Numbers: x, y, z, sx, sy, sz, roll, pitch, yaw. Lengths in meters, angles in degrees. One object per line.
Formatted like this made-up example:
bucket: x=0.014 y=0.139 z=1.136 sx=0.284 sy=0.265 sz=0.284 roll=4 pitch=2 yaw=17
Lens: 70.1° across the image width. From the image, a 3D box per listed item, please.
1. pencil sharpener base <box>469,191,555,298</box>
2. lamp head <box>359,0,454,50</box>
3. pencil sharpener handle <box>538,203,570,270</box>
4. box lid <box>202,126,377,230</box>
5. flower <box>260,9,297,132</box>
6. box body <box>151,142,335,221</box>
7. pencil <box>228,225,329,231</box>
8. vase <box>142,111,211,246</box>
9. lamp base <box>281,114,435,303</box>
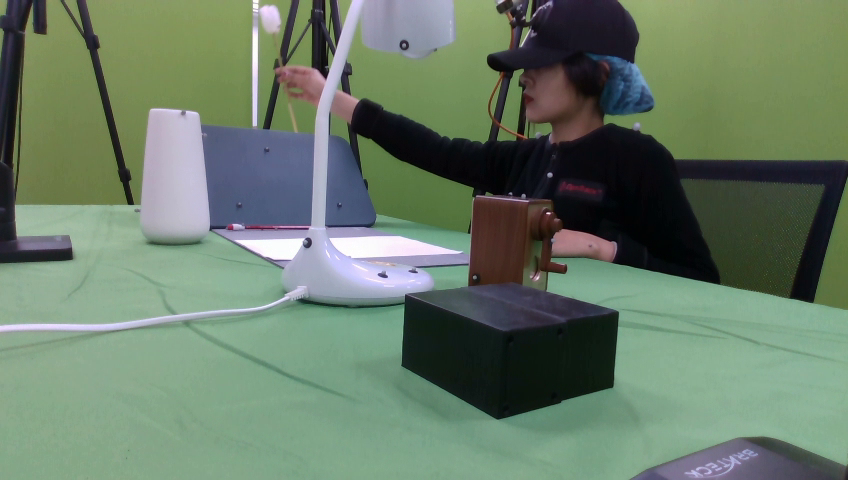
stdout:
pencil sharpener base: x=0.097 y=0.003 z=0.652 sx=0.076 sy=0.107 sz=0.061 roll=8 pitch=9 yaw=38
lamp head: x=-0.024 y=-0.283 z=0.674 sx=0.112 sy=0.123 sz=0.112 roll=-3 pitch=38 yaw=3
pencil sharpener handle: x=0.137 y=-0.003 z=0.619 sx=0.030 sy=0.067 sz=0.036 roll=8 pitch=5 yaw=38
box lid: x=-0.290 y=-0.128 z=1.237 sx=0.373 sy=0.262 sz=0.015 roll=-2 pitch=-35 yaw=-32
flower: x=-0.323 y=-0.353 z=1.417 sx=0.038 sy=0.361 sz=0.044 roll=-4 pitch=13 yaw=32
box body: x=-0.413 y=-0.134 z=1.379 sx=0.366 sy=0.160 sz=0.253 roll=-2 pitch=9 yaw=-31
pencil: x=-0.266 y=-0.023 z=1.125 sx=0.195 sy=0.012 sz=0.012 roll=-1 pitch=8 yaw=-33
vase: x=-0.378 y=-0.093 z=0.920 sx=0.098 sy=0.200 sz=0.098 roll=2 pitch=9 yaw=0
lamp base: x=-0.071 y=-0.035 z=0.614 sx=0.160 sy=0.180 sz=0.180 roll=6 pitch=10 yaw=27
